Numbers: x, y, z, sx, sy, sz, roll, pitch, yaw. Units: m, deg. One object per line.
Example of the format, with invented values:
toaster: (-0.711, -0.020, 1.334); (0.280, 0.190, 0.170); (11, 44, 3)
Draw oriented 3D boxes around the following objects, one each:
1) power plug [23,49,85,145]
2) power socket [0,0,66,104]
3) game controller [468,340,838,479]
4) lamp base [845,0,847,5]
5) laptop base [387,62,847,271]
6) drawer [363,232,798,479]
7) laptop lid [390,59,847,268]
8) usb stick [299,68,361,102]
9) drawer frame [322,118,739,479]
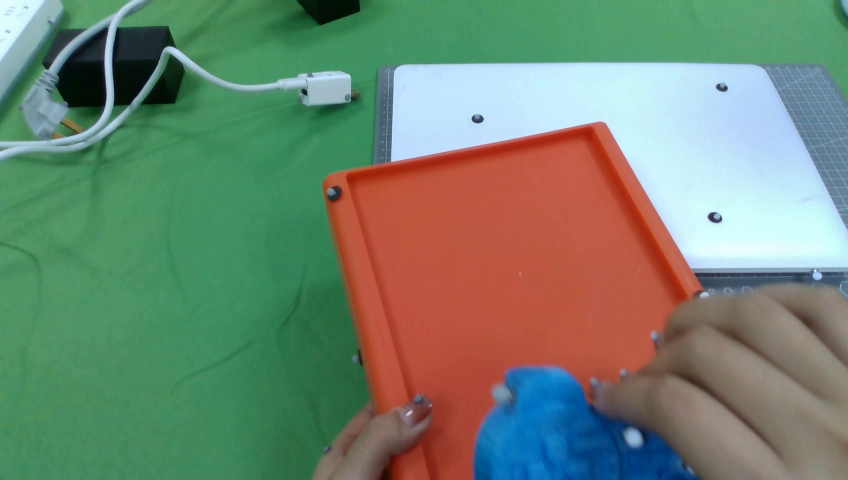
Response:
power plug: (-0.310, -0.120, 0.523); (0.072, 0.053, 0.035); (-53, 35, -1)
power socket: (-0.426, -0.187, 0.591); (0.072, 0.033, 0.224); (3, 53, 0)
game controller: (0.092, 0.092, 0.238); (0.155, 0.051, 0.097); (-3, 85, -10)
lamp base: (0.549, -0.309, 0.601); (0.159, 0.182, 0.179); (32, 57, 22)
laptop base: (0.148, -0.069, 0.518); (0.354, 0.023, 0.233); (0, 56, -1)
drawer: (0.082, 0.112, 0.331); (0.195, 0.074, 0.209); (-11, 59, -11)
laptop lid: (0.148, -0.075, 0.507); (0.357, 0.013, 0.239); (1, 55, 0)
usb stick: (-0.085, -0.144, 0.561); (0.059, 0.027, 0.021); (-14, 30, -37)
drawer frame: (0.058, 0.043, 0.370); (0.202, 0.083, 0.211); (-13, 60, -11)
